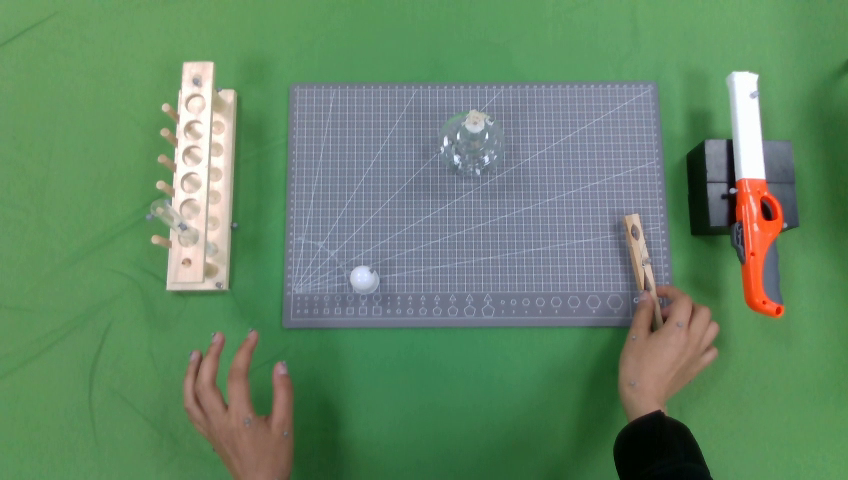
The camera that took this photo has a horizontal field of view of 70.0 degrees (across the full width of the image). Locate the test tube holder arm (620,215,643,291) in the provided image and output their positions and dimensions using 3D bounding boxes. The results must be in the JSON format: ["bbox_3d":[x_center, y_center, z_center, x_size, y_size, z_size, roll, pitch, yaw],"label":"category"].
[{"bbox_3d":[0.240,0.015,0.697,0.010,0.015,0.087,-11,83,3],"label":"test tube holder arm"}]

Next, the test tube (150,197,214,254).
[{"bbox_3d":[-0.243,-0.011,0.619,0.017,0.151,0.017,1,74,-2],"label":"test tube"}]

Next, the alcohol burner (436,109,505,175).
[{"bbox_3d":[0.052,-0.114,0.673,0.078,0.119,0.077,0,81,2],"label":"alcohol burner"}]

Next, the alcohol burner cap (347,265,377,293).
[{"bbox_3d":[-0.072,0.042,0.681,0.034,0.048,0.033,0,80,-1],"label":"alcohol burner cap"}]

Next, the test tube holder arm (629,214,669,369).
[{"bbox_3d":[0.255,0.058,0.691,0.013,0.015,0.178,-12,83,3],"label":"test tube holder arm"}]

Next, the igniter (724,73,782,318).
[{"bbox_3d":[0.358,-0.052,0.663,0.057,0.025,0.275,2,77,-3],"label":"igniter"}]

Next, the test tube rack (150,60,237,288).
[{"bbox_3d":[-0.261,-0.070,0.679,0.067,0.085,0.241,0,80,0],"label":"test tube rack"}]
